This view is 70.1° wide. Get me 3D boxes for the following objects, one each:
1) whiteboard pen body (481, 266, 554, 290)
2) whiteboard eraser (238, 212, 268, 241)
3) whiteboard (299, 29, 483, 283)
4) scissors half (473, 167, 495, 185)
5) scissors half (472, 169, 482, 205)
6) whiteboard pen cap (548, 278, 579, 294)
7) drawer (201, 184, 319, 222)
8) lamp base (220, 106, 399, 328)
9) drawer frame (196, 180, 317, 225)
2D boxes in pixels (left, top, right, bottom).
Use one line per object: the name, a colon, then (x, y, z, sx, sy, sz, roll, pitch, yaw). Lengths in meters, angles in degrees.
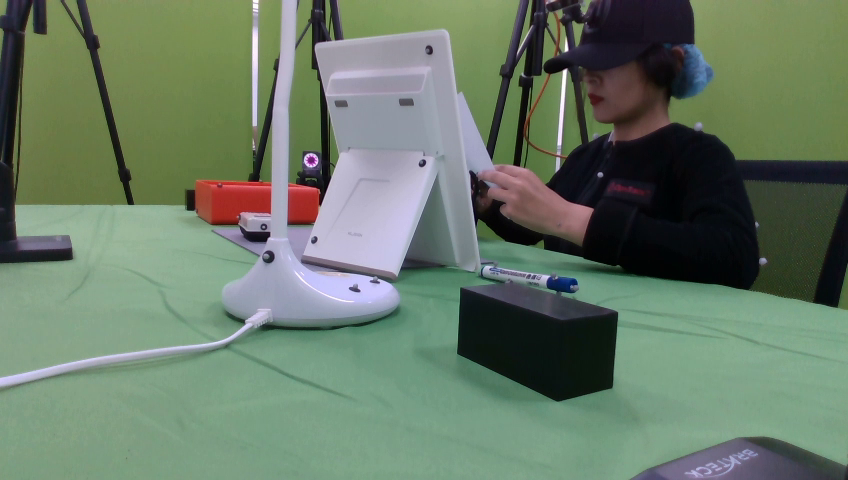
whiteboard pen body: (0.115, 0.044, 0.695, 0.017, 0.017, 0.140, -3, 6, -35)
whiteboard eraser: (-0.272, -0.023, 0.998, 0.056, 0.042, 0.112, -2, 9, -24)
whiteboard: (-0.074, -0.082, 0.742, 0.216, 0.305, 0.144, 9, 29, 38)
scissors half: (0.111, -0.120, 1.143, 0.013, 0.040, 0.175, 34, 15, 10)
scissors half: (0.099, -0.101, 1.144, 0.013, 0.040, 0.175, 29, -12, 10)
whiteboard pen cap: (0.148, 0.049, 0.647, 0.018, 0.018, 0.033, -3, 3, -35)
drawer: (-0.353, -0.082, 1.295, 0.213, 0.073, 0.193, -2, 10, -28)
lamp base: (-0.102, -0.023, 0.531, 0.160, 0.180, 0.179, 4, 10, 10)
drawer frame: (-0.359, -0.083, 1.292, 0.215, 0.082, 0.200, -2, 10, -30)
